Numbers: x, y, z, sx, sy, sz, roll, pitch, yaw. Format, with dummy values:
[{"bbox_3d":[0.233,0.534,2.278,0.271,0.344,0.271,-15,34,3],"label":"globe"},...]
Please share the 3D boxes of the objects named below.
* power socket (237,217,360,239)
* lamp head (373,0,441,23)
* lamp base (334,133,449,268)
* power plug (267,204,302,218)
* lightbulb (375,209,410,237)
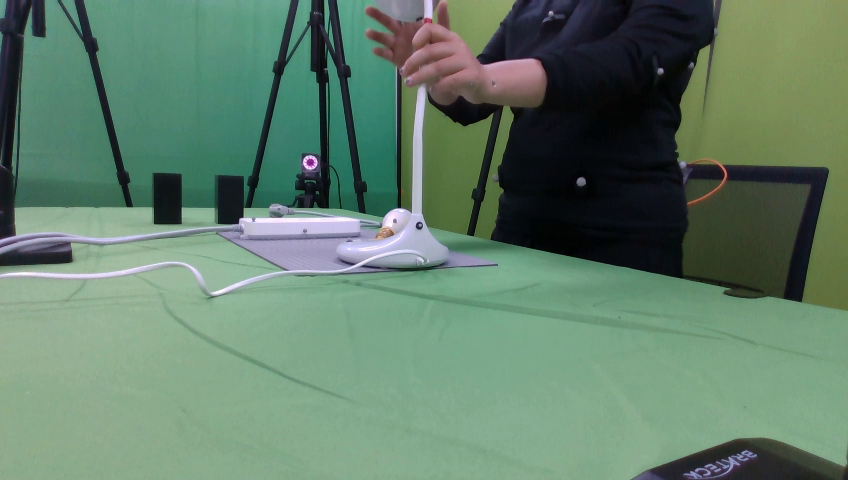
[{"bbox_3d":[-0.220,-0.023,1.080,0.228,0.032,0.072,-2,8,-32],"label":"power socket"},{"bbox_3d":[-0.011,-0.371,0.829,0.113,0.112,0.122,0,-2,-19],"label":"lamp head"},{"bbox_3d":[-0.034,-0.057,0.831,0.161,0.180,0.178,-2,11,-36],"label":"lamp base"},{"bbox_3d":[-0.327,-0.060,1.404,0.073,0.035,0.052,22,-14,-25],"label":"power plug"},{"bbox_3d":[-0.052,-0.016,1.023,0.059,0.059,0.108,6,23,22],"label":"lightbulb"}]
